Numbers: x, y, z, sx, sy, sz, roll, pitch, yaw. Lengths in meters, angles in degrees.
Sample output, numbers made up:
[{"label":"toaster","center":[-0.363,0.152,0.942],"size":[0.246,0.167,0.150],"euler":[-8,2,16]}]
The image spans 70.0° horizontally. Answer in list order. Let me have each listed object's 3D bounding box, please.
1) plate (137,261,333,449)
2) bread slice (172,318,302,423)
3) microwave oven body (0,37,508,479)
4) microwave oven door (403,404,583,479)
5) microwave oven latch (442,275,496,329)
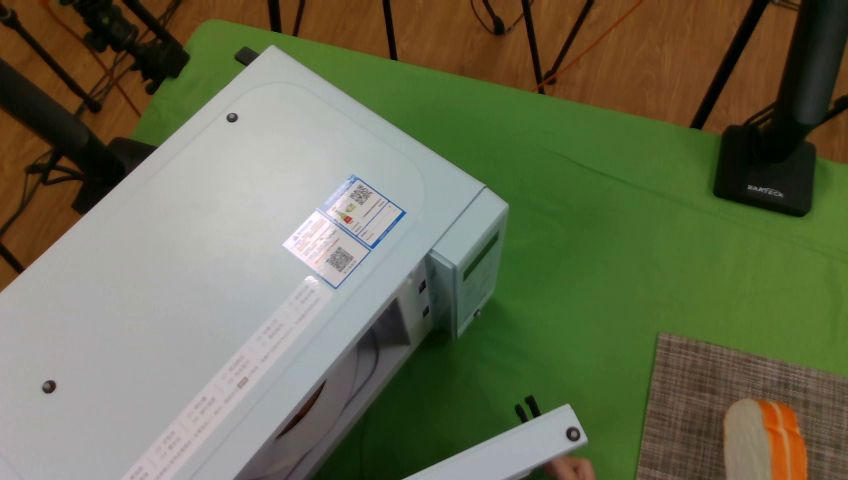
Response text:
[{"label":"plate","center":[-0.203,0.125,0.670],"size":[0.208,0.039,0.206],"euler":[1,64,-1]},{"label":"bread slice","center":[-0.205,0.149,0.666],"size":[0.134,0.018,0.106],"euler":[-10,63,-12]},{"label":"microwave oven body","center":[-0.177,0.076,0.627],"size":[0.324,0.262,0.441],"euler":[36,74,16]},{"label":"microwave oven door","center":[-0.040,0.244,0.544],"size":[0.356,0.245,0.039],"euler":[-23,67,-7]},{"label":"microwave oven latch","center":[0.054,0.067,0.725],"size":[0.030,0.030,0.079],"euler":[38,74,16]}]
